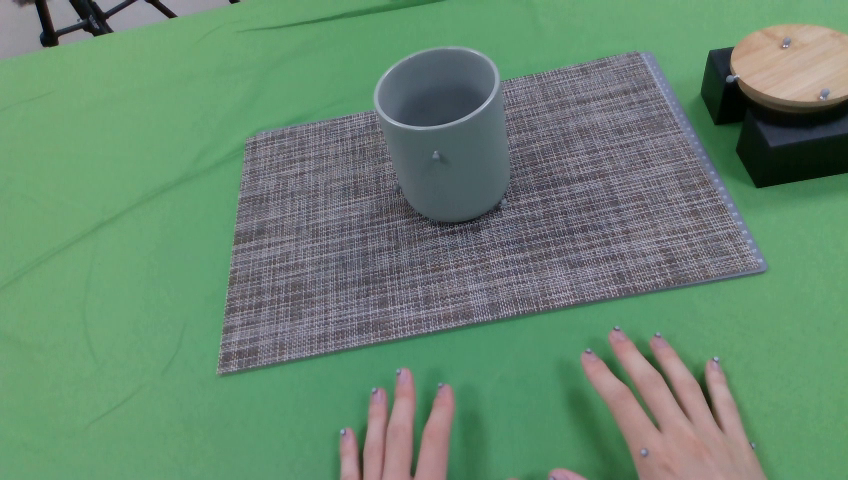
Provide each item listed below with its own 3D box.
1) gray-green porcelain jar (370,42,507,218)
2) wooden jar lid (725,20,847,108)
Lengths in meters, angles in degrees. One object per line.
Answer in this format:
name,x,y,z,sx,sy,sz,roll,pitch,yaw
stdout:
gray-green porcelain jar,0.018,-0.091,0.537,0.106,0.128,0.105,-6,52,8
wooden jar lid,0.319,-0.152,0.525,0.108,0.021,0.107,-6,53,9
